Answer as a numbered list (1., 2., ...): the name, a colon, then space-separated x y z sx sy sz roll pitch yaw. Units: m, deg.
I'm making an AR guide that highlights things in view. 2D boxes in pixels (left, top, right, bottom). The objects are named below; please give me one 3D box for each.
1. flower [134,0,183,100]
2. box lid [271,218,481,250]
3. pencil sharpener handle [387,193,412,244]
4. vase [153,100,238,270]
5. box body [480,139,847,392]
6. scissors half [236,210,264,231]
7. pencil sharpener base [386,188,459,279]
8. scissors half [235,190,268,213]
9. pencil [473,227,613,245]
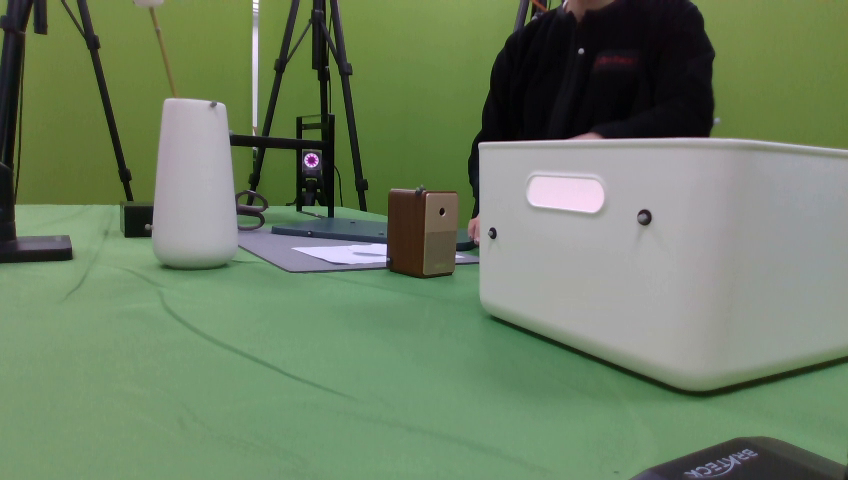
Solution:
1. flower: -0.282 -0.147 0.713 0.038 0.362 0.044 -23 24 -31
2. box lid: -0.072 -0.014 1.141 0.371 0.015 0.264 5 7 16
3. pencil sharpener handle: -0.038 -0.029 0.797 0.036 0.068 0.030 -13 16 -42
4. vase: -0.278 -0.066 0.736 0.098 0.200 0.098 2 9 0
5. box body: 0.255 0.001 0.541 0.366 0.160 0.253 -2 8 -31
6. scissors half: -0.369 -0.051 1.065 0.176 0.040 0.012 19 13 -27
7. pencil sharpener base: -0.004 -0.011 0.761 0.062 0.107 0.076 -5 10 -44
8. scissors half: -0.363 -0.070 1.060 0.176 0.040 0.013 0 16 -23
9. pencil: 0.158 -0.006 0.799 0.194 0.012 0.012 5 7 -10
